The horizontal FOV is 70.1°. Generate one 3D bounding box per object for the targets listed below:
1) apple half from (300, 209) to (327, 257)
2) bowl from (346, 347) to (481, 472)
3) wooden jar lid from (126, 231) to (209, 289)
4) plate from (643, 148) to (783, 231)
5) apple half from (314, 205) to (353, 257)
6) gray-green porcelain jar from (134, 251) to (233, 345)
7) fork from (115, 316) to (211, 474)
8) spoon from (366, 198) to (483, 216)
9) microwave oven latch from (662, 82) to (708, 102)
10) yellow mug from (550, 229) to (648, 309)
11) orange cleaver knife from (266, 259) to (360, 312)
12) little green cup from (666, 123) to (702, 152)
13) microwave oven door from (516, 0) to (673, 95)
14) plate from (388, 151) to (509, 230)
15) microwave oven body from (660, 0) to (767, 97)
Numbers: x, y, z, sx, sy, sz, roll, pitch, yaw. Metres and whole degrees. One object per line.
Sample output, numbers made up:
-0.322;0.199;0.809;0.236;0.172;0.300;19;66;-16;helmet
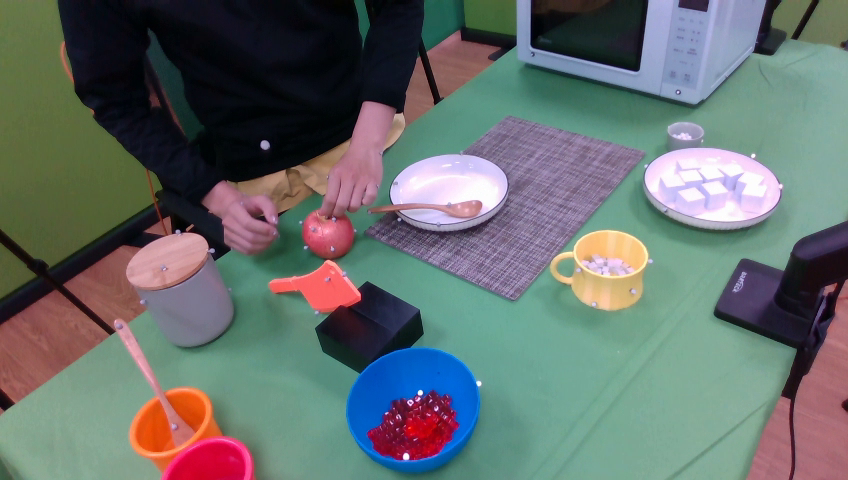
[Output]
-0.178;-0.005;0.961;0.033;0.081;0.080;-14;41;-14;apple half
-0.008;0.205;0.691;0.151;0.077;0.150;-4;40;4;bowl
-0.340;0.030;0.809;0.108;0.021;0.108;-5;39;5;wooden jar lid
0.464;-0.079;0.986;0.207;0.039;0.206;-4;40;4;plate
-0.142;-0.016;0.971;0.053;0.075;0.080;-16;37;-12;apple half
-0.334;0.076;0.849;0.106;0.127;0.105;-4;41;4;gray-green porcelain jar
-0.308;0.179;0.708;0.028;0.018;0.207;-30;89;-21;fork
0.001;-0.057;0.998;0.194;0.022;0.041;1;50;-10;spoon
0.517;-0.298;1.203;0.078;0.029;0.030;28;52;35;microwave oven latch
0.245;0.040;0.857;0.130;0.064;0.099;1;42;11;yellow mug
-0.161;0.070;0.859;0.210;0.077;0.012;-13;22;49;orange cleaver knife
0.472;-0.183;1.102;0.061;0.039;0.061;-5;41;5;little green cup
0.344;-0.458;1.256;0.353;0.245;0.039;26;51;33;microwave oven door
0.044;-0.082;1.042;0.209;0.038;0.208;-4;40;4;plate
0.473;-0.516;1.314;0.438;0.261;0.327;26;51;34;microwave oven body
